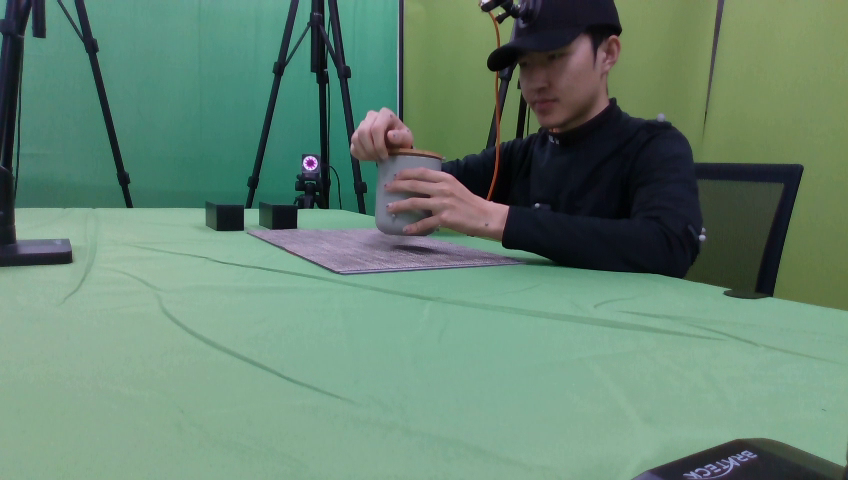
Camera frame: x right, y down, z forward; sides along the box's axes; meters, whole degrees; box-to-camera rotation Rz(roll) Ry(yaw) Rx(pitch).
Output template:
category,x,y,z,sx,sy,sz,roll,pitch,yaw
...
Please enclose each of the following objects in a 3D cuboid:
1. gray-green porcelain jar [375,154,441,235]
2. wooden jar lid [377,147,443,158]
category,x,y,z,sx,sy,sz,roll,pitch,yaw
gray-green porcelain jar,-0.026,-0.073,0.987,0.106,0.126,0.106,3,3,0
wooden jar lid,-0.024,-0.135,0.983,0.108,0.020,0.108,5,0,0
